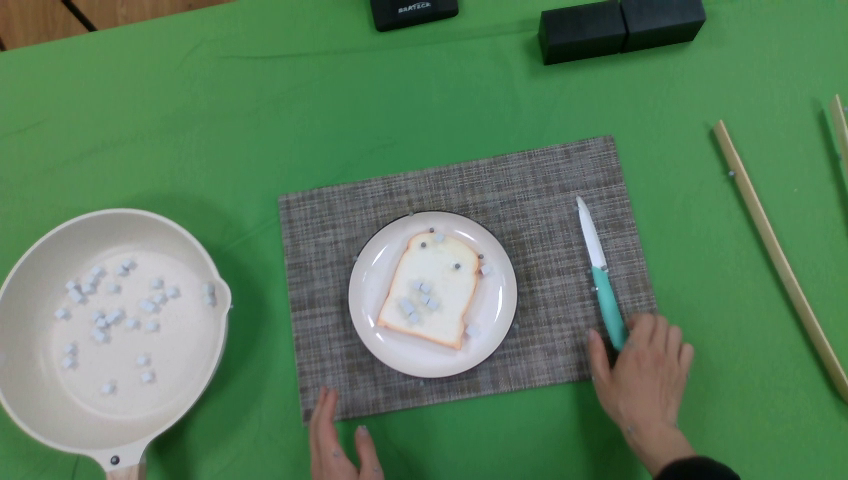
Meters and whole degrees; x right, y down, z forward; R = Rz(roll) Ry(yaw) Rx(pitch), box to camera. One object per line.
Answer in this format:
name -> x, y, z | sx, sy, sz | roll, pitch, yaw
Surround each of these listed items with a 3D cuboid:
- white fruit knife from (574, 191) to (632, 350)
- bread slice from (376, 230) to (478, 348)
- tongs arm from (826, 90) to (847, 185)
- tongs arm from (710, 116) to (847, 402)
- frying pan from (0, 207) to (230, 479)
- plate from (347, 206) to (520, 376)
white fruit knife -> 0.216, 0.035, 0.748 | 0.027, 0.016, 0.206 | -5, 73, -27
bread slice -> 0.008, 0.055, 0.747 | 0.107, 0.018, 0.134 | 13, 80, 6
tongs arm -> 0.514, 0.003, 0.727 | 0.051, 0.026, 0.383 | -7, 78, 3
tongs arm -> 0.436, 0.020, 0.733 | 0.028, 0.028, 0.385 | -19, 77, -3
frying pan -> -0.354, 0.200, 0.706 | 0.307, 0.103, 0.484 | -14, 68, 1
plate -> 0.012, 0.061, 0.743 | 0.207, 0.039, 0.206 | -1, 77, 4
